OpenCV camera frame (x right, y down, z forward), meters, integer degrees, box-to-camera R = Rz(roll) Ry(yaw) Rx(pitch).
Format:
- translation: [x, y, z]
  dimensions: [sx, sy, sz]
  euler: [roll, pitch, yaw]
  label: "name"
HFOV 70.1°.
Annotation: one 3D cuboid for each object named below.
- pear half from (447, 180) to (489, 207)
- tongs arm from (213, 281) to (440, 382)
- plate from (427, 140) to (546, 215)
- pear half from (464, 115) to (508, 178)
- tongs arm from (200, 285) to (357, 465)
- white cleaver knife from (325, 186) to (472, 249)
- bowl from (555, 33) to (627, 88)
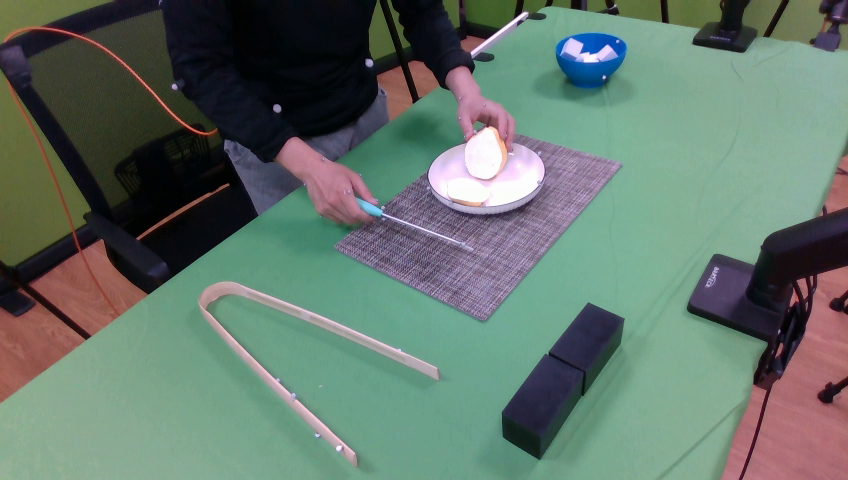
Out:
- translation: [0.069, -0.072, 1.016]
  dimensions: [0.070, 0.031, 0.088]
  euler: [29, 35, 32]
  label: "pear half"
- translation: [-0.147, 0.121, 0.846]
  dimensions: [0.385, 0.028, 0.028]
  euler: [17, 48, 26]
  label: "tongs arm"
- translation: [0.109, -0.107, 1.059]
  dimensions: [0.207, 0.039, 0.206]
  euler: [-4, 41, 4]
  label: "plate"
- translation: [0.114, -0.169, 1.061]
  dimensions: [0.076, 0.110, 0.056]
  euler: [18, 33, 14]
  label: "pear half"
- translation: [-0.199, 0.162, 0.797]
  dimensions: [0.381, 0.026, 0.051]
  euler: [28, 50, 35]
  label: "tongs arm"
- translation: [-0.048, -0.032, 0.967]
  dimensions: [0.284, 0.066, 0.021]
  euler: [23, 86, 30]
  label: "white cleaver knife"
- translation: [0.360, -0.384, 1.318]
  dimensions: [0.151, 0.077, 0.150]
  euler: [-4, 41, 4]
  label: "bowl"
